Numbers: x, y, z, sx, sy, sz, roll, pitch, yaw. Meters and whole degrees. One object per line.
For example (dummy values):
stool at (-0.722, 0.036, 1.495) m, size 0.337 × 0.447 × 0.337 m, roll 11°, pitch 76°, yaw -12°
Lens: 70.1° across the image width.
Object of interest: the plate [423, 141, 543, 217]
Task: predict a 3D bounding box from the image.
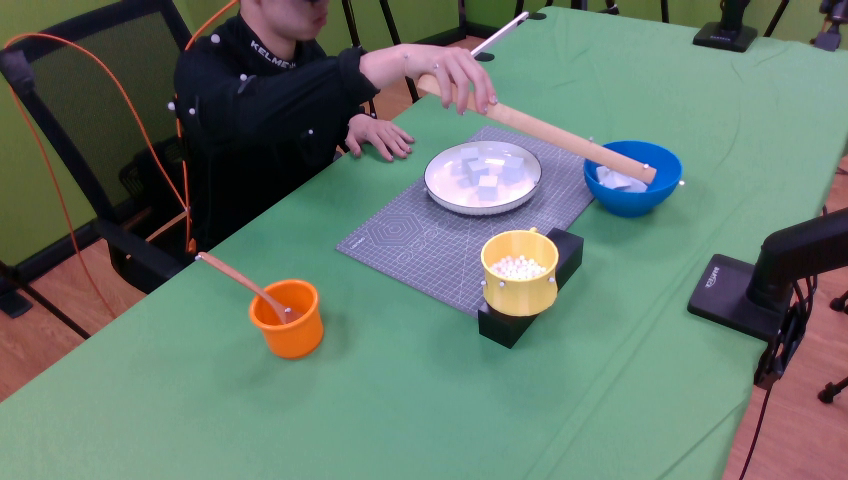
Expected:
plate at (0.103, -0.104, 1.059) m, size 0.207 × 0.039 × 0.206 m, roll -4°, pitch 40°, yaw 4°

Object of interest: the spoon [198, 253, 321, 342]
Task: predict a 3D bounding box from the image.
spoon at (-0.220, 0.075, 0.814) m, size 0.021 × 0.194 × 0.041 m, roll -37°, pitch 18°, yaw 39°

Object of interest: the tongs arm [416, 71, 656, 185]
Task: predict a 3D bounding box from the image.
tongs arm at (0.172, -0.167, 0.912) m, size 0.386 × 0.026 × 0.050 m, roll 20°, pitch 14°, yaw -11°

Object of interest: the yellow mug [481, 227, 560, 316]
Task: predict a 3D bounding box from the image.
yellow mug at (0.131, 0.032, 0.801) m, size 0.099 × 0.064 × 0.131 m, roll 11°, pitch 43°, yaw 20°

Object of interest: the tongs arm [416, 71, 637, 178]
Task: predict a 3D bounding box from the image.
tongs arm at (0.169, -0.178, 0.953) m, size 0.389 × 0.028 × 0.028 m, roll 20°, pitch 17°, yaw -13°

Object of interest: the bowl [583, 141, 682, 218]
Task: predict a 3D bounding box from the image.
bowl at (0.333, -0.089, 0.981) m, size 0.151 × 0.077 × 0.150 m, roll -5°, pitch 40°, yaw 4°
